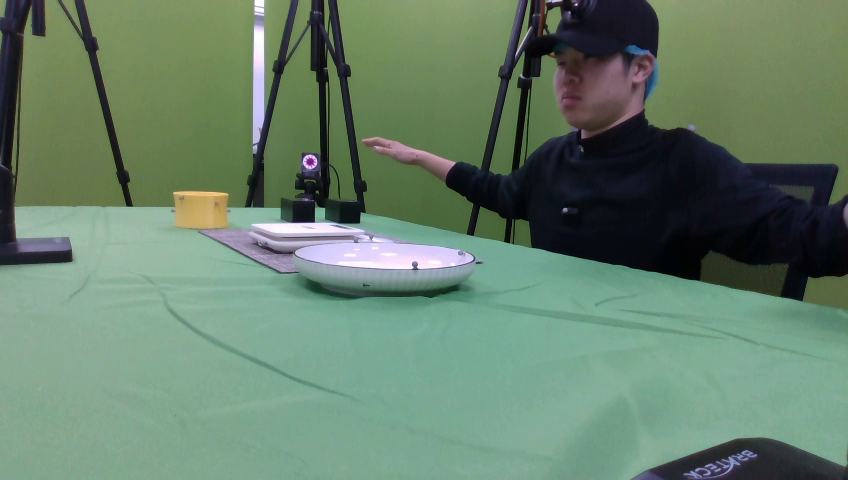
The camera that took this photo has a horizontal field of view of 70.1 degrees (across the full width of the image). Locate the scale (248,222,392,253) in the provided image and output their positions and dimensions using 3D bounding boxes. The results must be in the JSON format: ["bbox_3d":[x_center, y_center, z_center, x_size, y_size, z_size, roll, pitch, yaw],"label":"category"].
[{"bbox_3d":[-0.162,-0.006,0.954,0.202,0.031,0.148,-1,9,-32],"label":"scale"}]

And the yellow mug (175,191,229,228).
[{"bbox_3d":[-0.427,-0.062,1.189,0.100,0.064,0.131,4,7,14],"label":"yellow mug"}]

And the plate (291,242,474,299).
[{"bbox_3d":[-0.047,0.033,0.693,0.209,0.038,0.209,3,7,0],"label":"plate"}]
